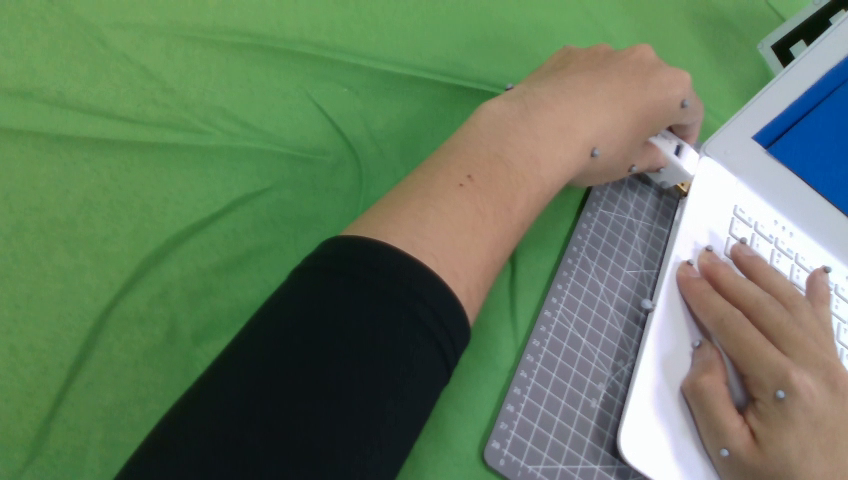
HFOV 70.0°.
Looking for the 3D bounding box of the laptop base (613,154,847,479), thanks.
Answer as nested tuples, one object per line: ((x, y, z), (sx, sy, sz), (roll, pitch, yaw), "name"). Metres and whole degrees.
((0.283, 0.121, 0.398), (0.355, 0.023, 0.234), (34, 59, -8), "laptop base")

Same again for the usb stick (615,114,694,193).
((0.156, -0.053, 0.396), (0.059, 0.027, 0.021), (38, 60, -18), "usb stick")

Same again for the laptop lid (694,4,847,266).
((0.393, -0.038, 0.395), (0.358, 0.242, 0.013), (33, 35, -8), "laptop lid")
